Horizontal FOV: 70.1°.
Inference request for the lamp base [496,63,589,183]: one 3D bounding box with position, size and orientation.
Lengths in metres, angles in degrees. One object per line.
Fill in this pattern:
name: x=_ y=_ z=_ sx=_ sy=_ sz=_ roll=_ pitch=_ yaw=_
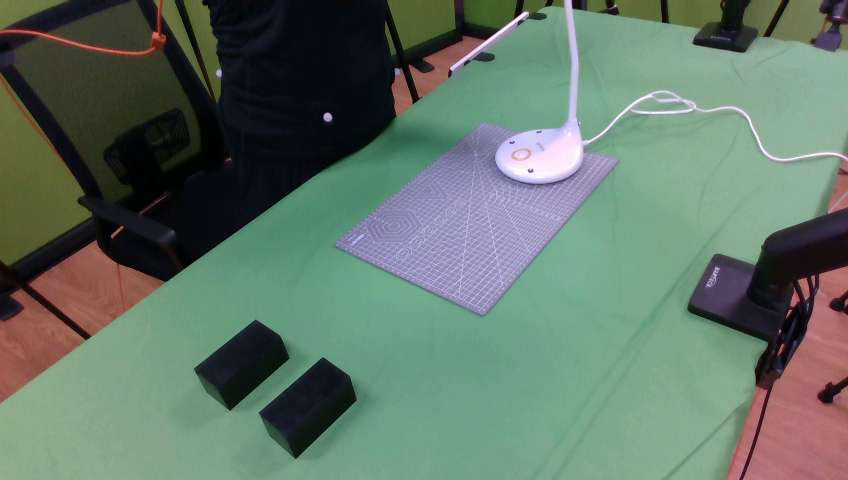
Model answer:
lamp base: x=0.216 y=-0.217 z=1.067 sx=0.180 sy=0.181 sz=0.159 roll=-19 pitch=42 yaw=-18
